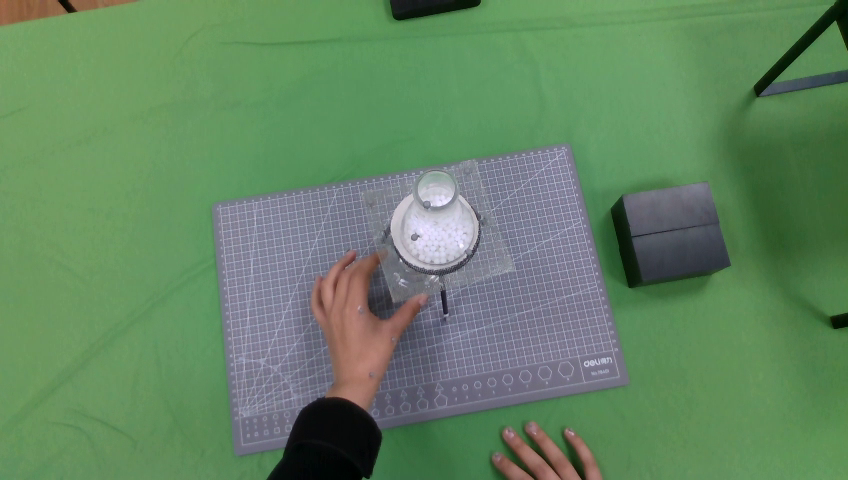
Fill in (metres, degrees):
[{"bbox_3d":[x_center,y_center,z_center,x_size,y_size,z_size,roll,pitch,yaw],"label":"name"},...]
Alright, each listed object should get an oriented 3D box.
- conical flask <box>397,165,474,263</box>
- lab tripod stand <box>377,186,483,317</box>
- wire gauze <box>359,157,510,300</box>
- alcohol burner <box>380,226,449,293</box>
[{"bbox_3d":[0.010,-0.027,0.539,0.075,0.122,0.075,0,75,1],"label":"conical flask"},{"bbox_3d":[0.013,0.001,0.661,0.148,0.132,0.147,0,74,1],"label":"lab tripod stand"},{"bbox_3d":[0.010,-0.013,0.597,0.125,0.011,0.121,-15,78,-6],"label":"wire gauze"},{"bbox_3d":[-0.011,0.017,0.668,0.078,0.119,0.077,0,74,0],"label":"alcohol burner"}]
